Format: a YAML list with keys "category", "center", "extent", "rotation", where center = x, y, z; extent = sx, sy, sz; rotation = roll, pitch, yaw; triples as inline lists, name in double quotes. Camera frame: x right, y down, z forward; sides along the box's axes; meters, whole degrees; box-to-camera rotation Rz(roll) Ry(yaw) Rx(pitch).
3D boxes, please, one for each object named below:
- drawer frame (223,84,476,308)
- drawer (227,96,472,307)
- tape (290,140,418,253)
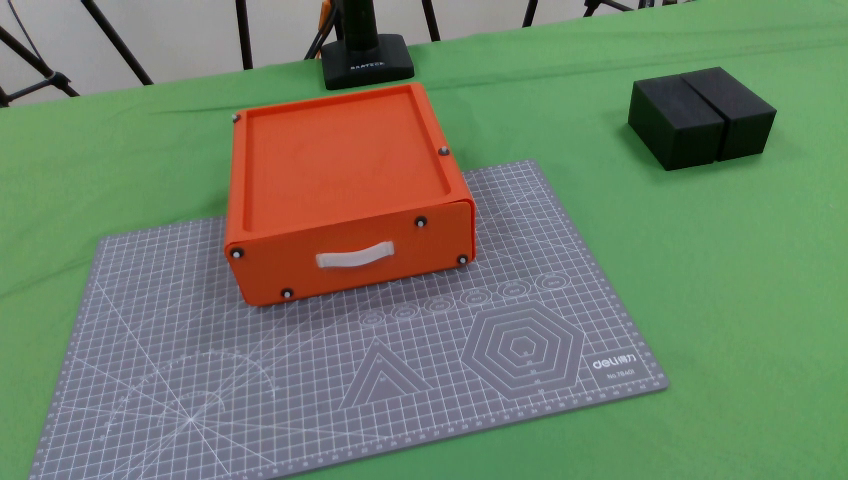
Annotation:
- category: "drawer frame"
  center: [-0.075, -0.051, 0.571]
  extent: [0.202, 0.083, 0.211]
  rotation: [-12, 41, -6]
- category: "drawer"
  center: [-0.074, -0.048, 0.570]
  extent: [0.195, 0.074, 0.209]
  rotation: [-12, 41, -5]
- category: "tape"
  center: [-0.066, -0.044, 0.573]
  extent: [0.117, 0.053, 0.115]
  rotation: [-3, 42, 3]
